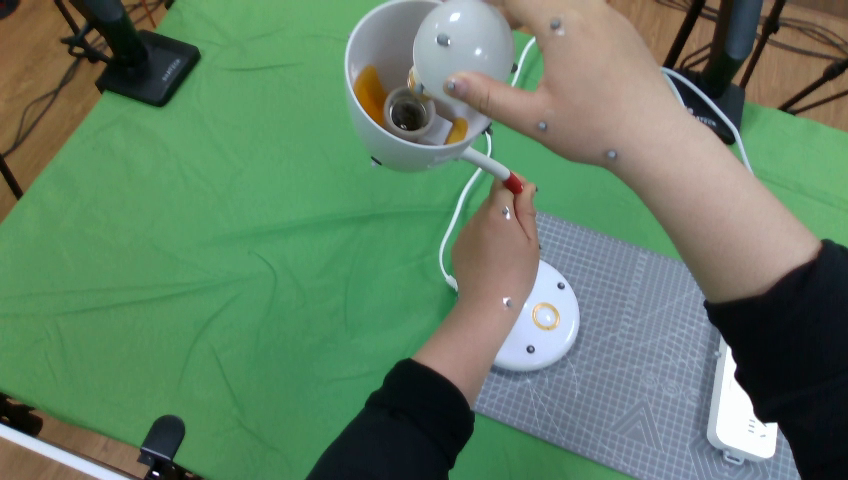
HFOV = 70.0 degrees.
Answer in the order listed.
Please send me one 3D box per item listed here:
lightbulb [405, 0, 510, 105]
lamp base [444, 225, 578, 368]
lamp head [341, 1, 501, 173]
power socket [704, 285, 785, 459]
[{"bbox_3d":[0.014,-0.112,0.386,0.060,0.107,0.059,0,90,-20],"label":"lightbulb"},{"bbox_3d":[0.108,0.049,0.715,0.179,0.181,0.159,14,63,8],"label":"lamp base"},{"bbox_3d":[-0.006,-0.099,0.464,0.112,0.123,0.112,2,74,-6],"label":"lamp head"},{"bbox_3d":[0.402,0.157,0.756,0.072,0.033,0.225,19,64,6],"label":"power socket"}]
